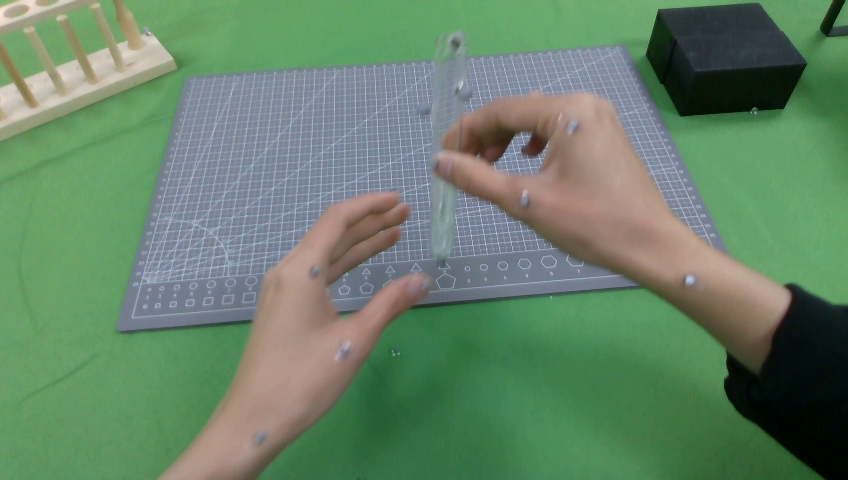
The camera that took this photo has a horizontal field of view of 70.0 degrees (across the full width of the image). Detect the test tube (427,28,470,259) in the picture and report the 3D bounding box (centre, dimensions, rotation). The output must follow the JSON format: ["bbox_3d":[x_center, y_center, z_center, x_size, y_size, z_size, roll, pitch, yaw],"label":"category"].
[{"bbox_3d":[0.011,-0.041,0.325,0.017,0.151,0.017,1,48,-1],"label":"test tube"}]

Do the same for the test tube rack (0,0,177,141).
[{"bbox_3d":[-0.373,-0.165,0.568,0.242,0.086,0.066,-31,57,-21],"label":"test tube rack"}]
